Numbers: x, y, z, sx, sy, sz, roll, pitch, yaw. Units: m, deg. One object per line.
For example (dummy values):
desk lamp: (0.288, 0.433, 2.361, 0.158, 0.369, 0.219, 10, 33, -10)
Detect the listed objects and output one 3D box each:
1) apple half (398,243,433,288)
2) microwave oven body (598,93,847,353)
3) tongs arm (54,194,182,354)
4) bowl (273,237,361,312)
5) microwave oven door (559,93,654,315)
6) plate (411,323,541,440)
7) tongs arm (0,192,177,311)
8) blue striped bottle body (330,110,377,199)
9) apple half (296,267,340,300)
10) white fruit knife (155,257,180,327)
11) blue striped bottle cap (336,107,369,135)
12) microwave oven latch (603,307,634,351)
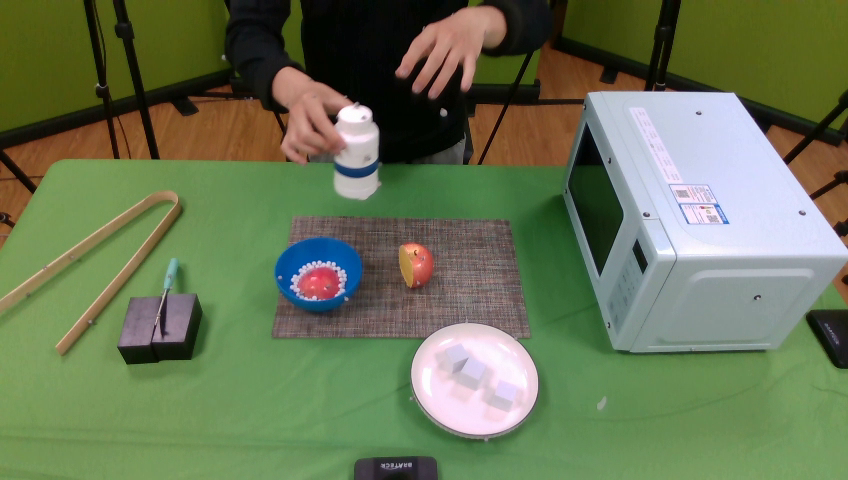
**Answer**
apple half: (-0.012, 0.046, 1.115, 0.053, 0.075, 0.080, -11, 44, -20)
microwave oven body: (0.475, -0.041, 1.109, 0.326, 0.261, 0.438, -1, 45, -4)
tongs arm: (-0.543, 0.048, 1.108, 0.028, 0.028, 0.385, 11, 45, 10)
bowl: (-0.186, 0.074, 1.069, 0.151, 0.077, 0.150, 3, 46, -3)
microwave oven door: (0.327, -0.074, 1.123, 0.039, 0.245, 0.353, 0, 46, -5)
plate: (0.082, 0.228, 0.976, 0.208, 0.039, 0.206, 2, 45, -2)
tongs arm: (-0.618, 0.019, 1.124, 0.050, 0.026, 0.384, 24, 47, 16)
blue striped bottle body: (-0.098, -0.122, 0.843, 0.063, 0.121, 0.062, 3, 42, -3)
apple half: (-0.187, 0.070, 1.067, 0.081, 0.033, 0.081, 2, 47, -2)
white fruit knife: (-0.440, 0.085, 1.037, 0.016, 0.027, 0.206, 10, 26, -19)
blue striped bottle cap: (-0.095, -0.159, 0.808, 0.044, 0.021, 0.044, 6, 39, -4)
microwave oven latch: (0.332, 0.153, 1.044, 0.030, 0.029, 0.078, 0, 45, -4)
